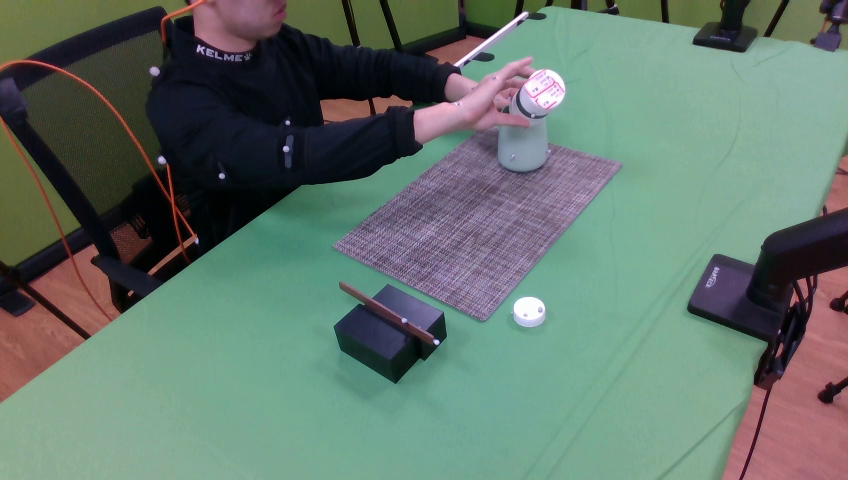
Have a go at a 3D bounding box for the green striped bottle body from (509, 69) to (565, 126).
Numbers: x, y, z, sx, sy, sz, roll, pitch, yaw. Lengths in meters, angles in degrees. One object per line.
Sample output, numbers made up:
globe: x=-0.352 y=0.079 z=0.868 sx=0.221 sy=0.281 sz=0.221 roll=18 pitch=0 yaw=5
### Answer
green striped bottle body: x=0.179 y=-0.226 z=0.983 sx=0.063 sy=0.119 sz=0.063 roll=1 pitch=83 yaw=-10

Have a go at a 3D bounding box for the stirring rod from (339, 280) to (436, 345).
stirring rod: x=-0.052 y=0.093 z=0.795 sx=0.174 sy=0.014 sz=0.006 roll=27 pitch=47 yaw=33

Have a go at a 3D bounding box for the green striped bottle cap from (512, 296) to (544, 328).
green striped bottle cap: x=0.144 y=0.099 z=0.837 sx=0.044 sy=0.020 sz=0.044 roll=-2 pitch=44 yaw=2

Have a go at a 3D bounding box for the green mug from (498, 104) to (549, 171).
green mug: x=0.182 y=-0.197 z=1.101 sx=0.092 sy=0.105 sz=0.125 roll=3 pitch=42 yaw=12
